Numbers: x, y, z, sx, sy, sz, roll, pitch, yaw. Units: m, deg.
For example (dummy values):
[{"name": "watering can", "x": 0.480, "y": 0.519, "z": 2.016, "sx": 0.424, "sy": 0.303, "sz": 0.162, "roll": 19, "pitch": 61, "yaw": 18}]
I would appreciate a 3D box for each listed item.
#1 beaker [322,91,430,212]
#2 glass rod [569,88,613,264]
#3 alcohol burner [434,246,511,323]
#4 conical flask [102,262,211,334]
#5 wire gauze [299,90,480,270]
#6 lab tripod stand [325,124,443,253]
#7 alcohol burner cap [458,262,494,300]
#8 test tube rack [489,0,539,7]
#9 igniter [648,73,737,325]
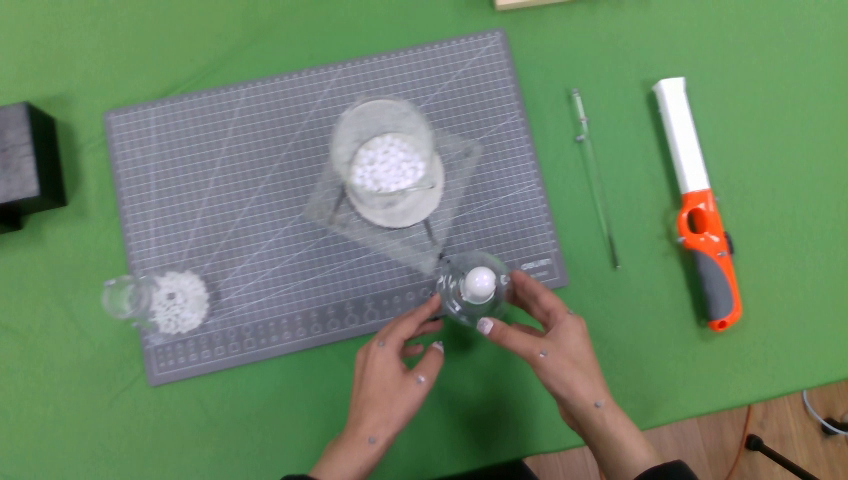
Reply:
[{"name": "beaker", "x": -0.031, "y": -0.062, "z": 0.477, "sx": 0.084, "sy": 0.100, "sz": 0.074, "roll": 38, "pitch": 84, "yaw": 3}, {"name": "glass rod", "x": 0.183, "y": -0.071, "z": 0.665, "sx": 0.008, "sy": 0.008, "sz": 0.199, "roll": -11, "pitch": 86, "yaw": -3}, {"name": "alcohol burner", "x": 0.048, "y": 0.042, "z": 0.591, "sx": 0.078, "sy": 0.119, "sz": 0.077, "roll": 0, "pitch": 83, "yaw": 1}, {"name": "conical flask", "x": -0.257, "y": 0.053, "z": 0.575, "sx": 0.075, "sy": 0.122, "sz": 0.075, "roll": 0, "pitch": 82, "yaw": -2}, {"name": "wire gauze", "x": -0.029, "y": -0.053, "z": 0.524, "sx": 0.125, "sy": 0.011, "sz": 0.121, "roll": 24, "pitch": 86, "yaw": 0}, {"name": "lab tripod stand", "x": -0.033, "y": -0.047, "z": 0.589, "sx": 0.148, "sy": 0.131, "sz": 0.148, "roll": 0, "pitch": 85, "yaw": -1}, {"name": "alcohol burner cap", "x": 0.049, "y": 0.036, "z": 0.556, "sx": 0.034, "sy": 0.048, "sz": 0.033, "roll": 1, "pitch": 76, "yaw": -2}, {"name": "test tube rack", "x": 0.190, "y": -0.322, "z": 0.657, "sx": 0.242, "sy": 0.085, "sz": 0.066, "roll": -9, "pitch": 83, "yaw": -3}, {"name": "igniter", "x": 0.291, "y": -0.047, "z": 0.656, "sx": 0.057, "sy": 0.025, "sz": 0.275, "roll": -10, "pitch": 83, "yaw": -14}]
